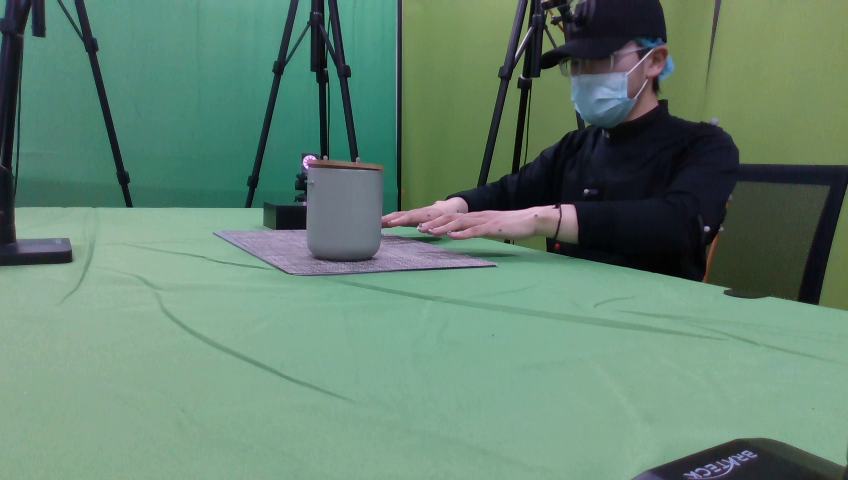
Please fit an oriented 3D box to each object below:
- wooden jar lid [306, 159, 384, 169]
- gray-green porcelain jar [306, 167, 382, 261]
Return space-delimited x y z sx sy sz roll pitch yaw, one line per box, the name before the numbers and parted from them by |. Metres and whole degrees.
wooden jar lid | -0.110 -0.100 0.840 0.108 0.020 0.108 4 4 0
gray-green porcelain jar | -0.112 -0.039 0.849 0.106 0.126 0.106 2 7 0
